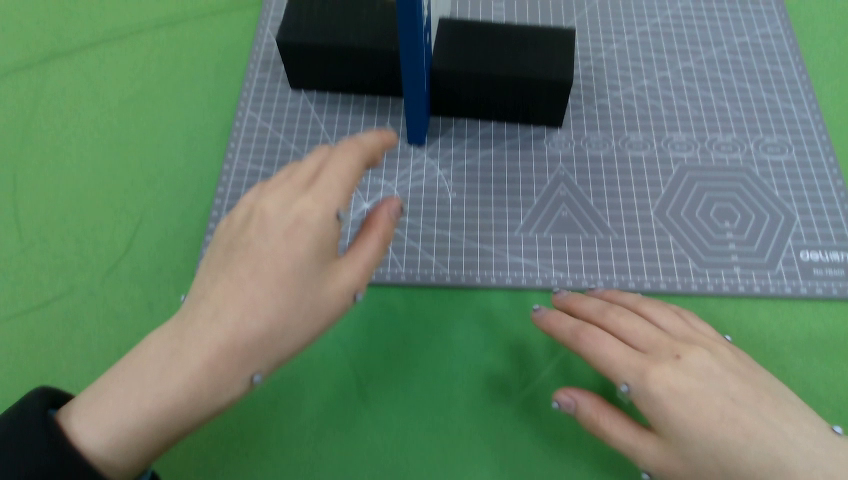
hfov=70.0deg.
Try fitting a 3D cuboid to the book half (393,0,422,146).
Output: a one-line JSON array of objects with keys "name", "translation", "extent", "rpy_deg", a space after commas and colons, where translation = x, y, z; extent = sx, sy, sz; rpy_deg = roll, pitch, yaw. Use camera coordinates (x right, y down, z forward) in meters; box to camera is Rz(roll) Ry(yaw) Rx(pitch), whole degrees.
[{"name": "book half", "translation": [-0.001, -0.183, 0.397], "extent": [0.016, 0.212, 0.147], "rpy_deg": [6, 61, 5]}]

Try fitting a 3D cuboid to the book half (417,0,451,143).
[{"name": "book half", "translation": [0.007, -0.185, 0.399], "extent": [0.007, 0.212, 0.142], "rpy_deg": [7, 61, 6]}]
